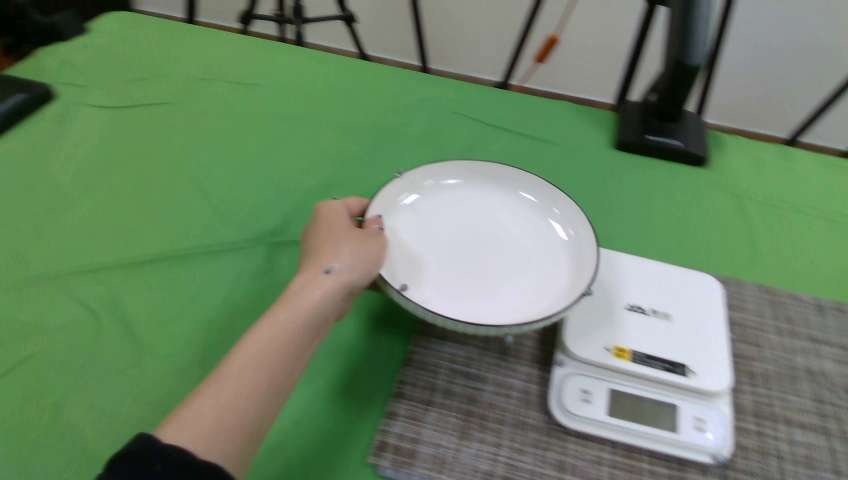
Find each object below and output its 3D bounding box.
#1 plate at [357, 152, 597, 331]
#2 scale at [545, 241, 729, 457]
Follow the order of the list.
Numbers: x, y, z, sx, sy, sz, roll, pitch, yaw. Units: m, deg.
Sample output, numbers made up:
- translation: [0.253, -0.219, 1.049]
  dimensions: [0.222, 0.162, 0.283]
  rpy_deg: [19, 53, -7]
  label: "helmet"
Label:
- translation: [0.045, -0.001, 0.536]
  dimensions: [0.209, 0.038, 0.207]
  rpy_deg: [3, 46, -3]
  label: "plate"
- translation: [0.192, 0.086, 0.545]
  dimensions: [0.148, 0.032, 0.199]
  rpy_deg: [13, 45, 7]
  label: "scale"
